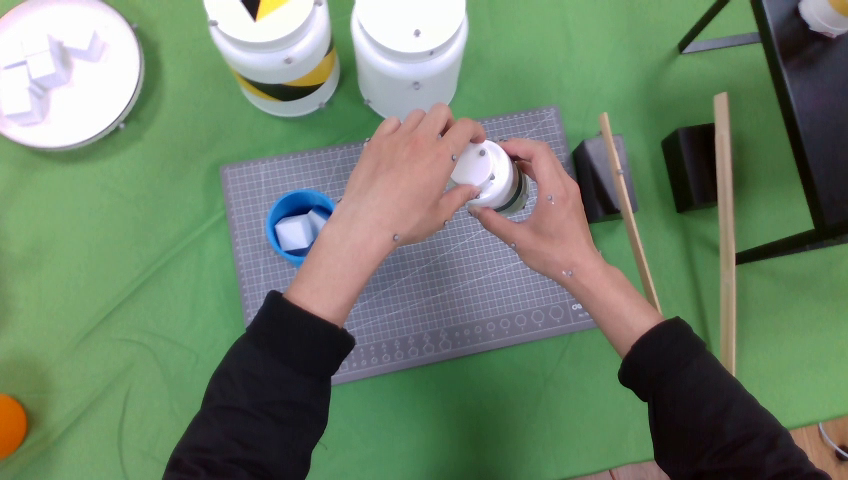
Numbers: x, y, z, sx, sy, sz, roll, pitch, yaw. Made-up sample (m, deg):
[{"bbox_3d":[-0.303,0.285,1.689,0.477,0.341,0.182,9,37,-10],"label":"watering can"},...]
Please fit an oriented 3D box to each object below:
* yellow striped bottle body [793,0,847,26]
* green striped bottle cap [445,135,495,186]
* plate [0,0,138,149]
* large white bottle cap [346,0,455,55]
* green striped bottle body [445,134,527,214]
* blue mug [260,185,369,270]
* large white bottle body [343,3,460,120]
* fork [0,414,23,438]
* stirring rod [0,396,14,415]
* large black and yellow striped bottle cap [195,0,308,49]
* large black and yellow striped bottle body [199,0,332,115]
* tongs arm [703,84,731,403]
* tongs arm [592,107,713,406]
[{"bbox_3d":[0.431,-0.270,0.598,0.063,0.120,0.062,1,80,-3],"label":"yellow striped bottle body"},{"bbox_3d":[0.041,-0.072,0.549,0.044,0.020,0.044,-1,87,17],"label":"green striped bottle cap"},{"bbox_3d":[-0.466,-0.212,0.767,0.208,0.039,0.207,1,81,-3],"label":"plate"},{"bbox_3d":[-0.024,-0.251,0.636,0.115,0.018,0.114,1,80,-3],"label":"large white bottle cap"},{"bbox_3d":[0.061,-0.066,0.602,0.063,0.120,0.063,-2,83,19],"label":"green striped bottle body"},{"bbox_3d":[-0.124,-0.013,0.716,0.116,0.106,0.082,-4,80,-4],"label":"blue mug"},{"bbox_3d":[-0.027,-0.235,0.719,0.131,0.185,0.130,1,80,-3],"label":"large white bottle body"},{"bbox_3d":[-0.547,0.199,0.641,0.209,0.018,0.028,16,74,-44],"label":"fork"},{"bbox_3d":[-0.516,0.231,0.643,0.014,0.006,0.175,35,38,0],"label":"stirring rod"},{"bbox_3d":[-0.179,-0.256,0.630,0.115,0.019,0.114,1,82,-4],"label":"large black and yellow striped bottle cap"},{"bbox_3d":[-0.182,-0.240,0.712,0.131,0.184,0.130,1,80,-3],"label":"large black and yellow striped bottle body"},{"bbox_3d":[0.356,0.005,0.743,0.028,0.027,0.387,-3,92,-12],"label":"tongs arm"},{"bbox_3d":[0.277,0.021,0.734,0.051,0.026,0.385,-16,94,-8],"label":"tongs arm"}]
